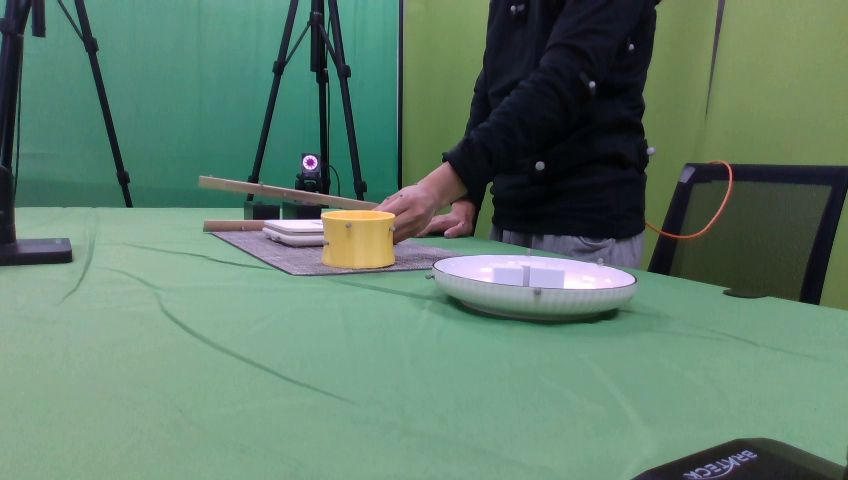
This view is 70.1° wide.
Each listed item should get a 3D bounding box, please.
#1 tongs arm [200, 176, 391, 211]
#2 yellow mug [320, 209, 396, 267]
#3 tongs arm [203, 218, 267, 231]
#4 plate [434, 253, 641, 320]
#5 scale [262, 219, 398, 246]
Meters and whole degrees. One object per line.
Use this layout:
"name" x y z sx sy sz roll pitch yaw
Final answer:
"tongs arm" -0.257 -0.084 1.245 0.387 0.026 0.050 6 32 -22
"yellow mug" -0.087 -0.007 0.823 0.100 0.064 0.131 1 9 1
"tongs arm" -0.231 -0.036 1.185 0.390 0.028 0.028 -3 33 -33
"plate" 0.114 0.047 0.626 0.208 0.039 0.207 2 7 0
"scale" -0.160 -0.015 1.028 0.202 0.031 0.148 -1 9 -31
